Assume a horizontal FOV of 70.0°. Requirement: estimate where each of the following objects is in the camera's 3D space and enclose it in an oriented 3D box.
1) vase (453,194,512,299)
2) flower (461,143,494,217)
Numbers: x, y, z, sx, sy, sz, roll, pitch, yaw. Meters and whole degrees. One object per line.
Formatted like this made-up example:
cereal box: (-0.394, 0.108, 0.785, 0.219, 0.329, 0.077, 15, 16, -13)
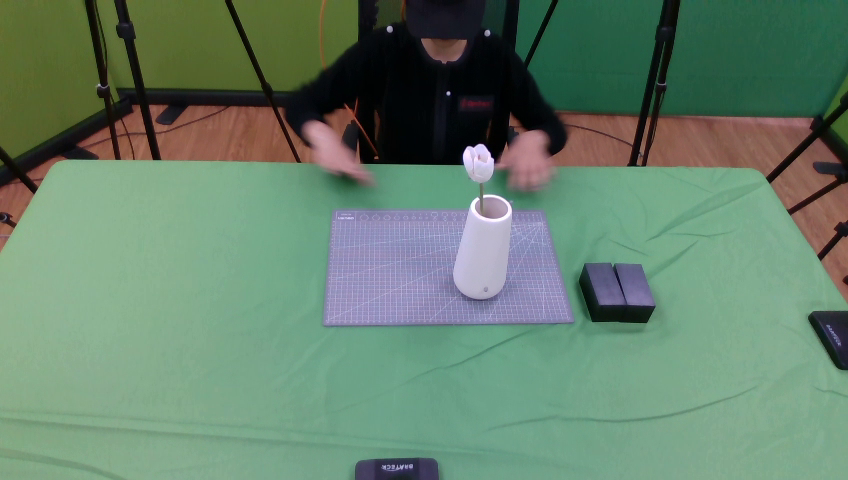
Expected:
vase: (0.107, 0.016, 1.065, 0.098, 0.201, 0.097, 3, 47, -3)
flower: (0.097, -0.035, 0.998, 0.044, 0.363, 0.038, 19, 65, 19)
